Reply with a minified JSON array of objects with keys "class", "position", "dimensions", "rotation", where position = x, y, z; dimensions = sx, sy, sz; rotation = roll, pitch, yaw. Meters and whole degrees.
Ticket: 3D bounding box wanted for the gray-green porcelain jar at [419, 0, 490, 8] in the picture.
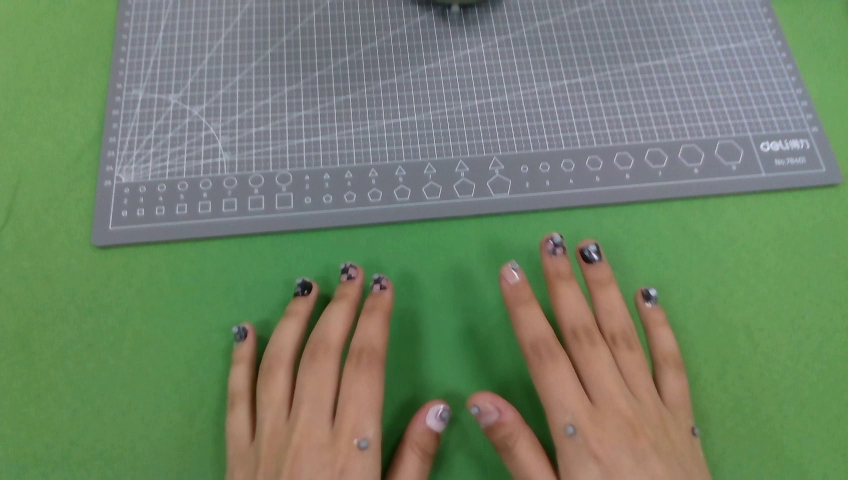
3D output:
[{"class":"gray-green porcelain jar","position":[0.021,-0.221,0.375],"dimensions":[0.106,0.127,0.105],"rotation":[1,67,-2]}]
